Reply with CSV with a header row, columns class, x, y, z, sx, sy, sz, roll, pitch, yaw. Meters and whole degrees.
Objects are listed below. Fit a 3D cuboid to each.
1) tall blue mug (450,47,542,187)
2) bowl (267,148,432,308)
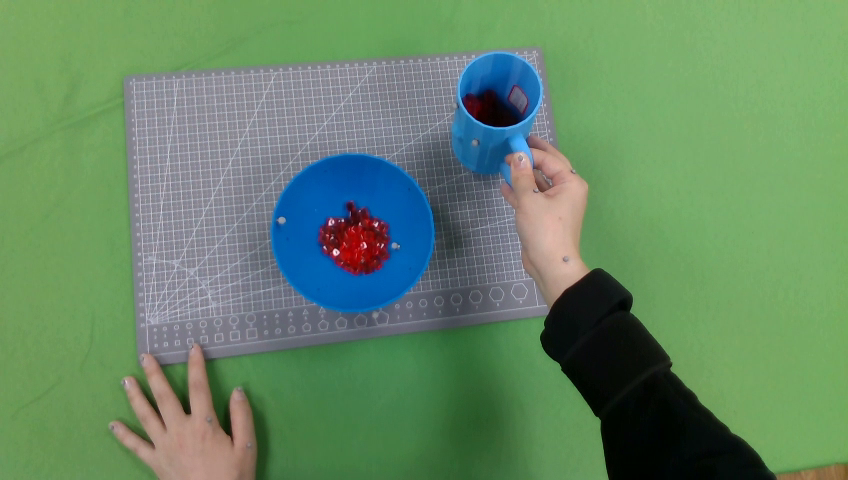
class,x,y,z,sx,sy,sz,roll,pitch,yaw
tall blue mug,0.077,-0.113,0.582,0.107,0.108,0.077,39,78,8
bowl,-0.070,-0.006,0.589,0.151,0.077,0.151,1,80,-6
